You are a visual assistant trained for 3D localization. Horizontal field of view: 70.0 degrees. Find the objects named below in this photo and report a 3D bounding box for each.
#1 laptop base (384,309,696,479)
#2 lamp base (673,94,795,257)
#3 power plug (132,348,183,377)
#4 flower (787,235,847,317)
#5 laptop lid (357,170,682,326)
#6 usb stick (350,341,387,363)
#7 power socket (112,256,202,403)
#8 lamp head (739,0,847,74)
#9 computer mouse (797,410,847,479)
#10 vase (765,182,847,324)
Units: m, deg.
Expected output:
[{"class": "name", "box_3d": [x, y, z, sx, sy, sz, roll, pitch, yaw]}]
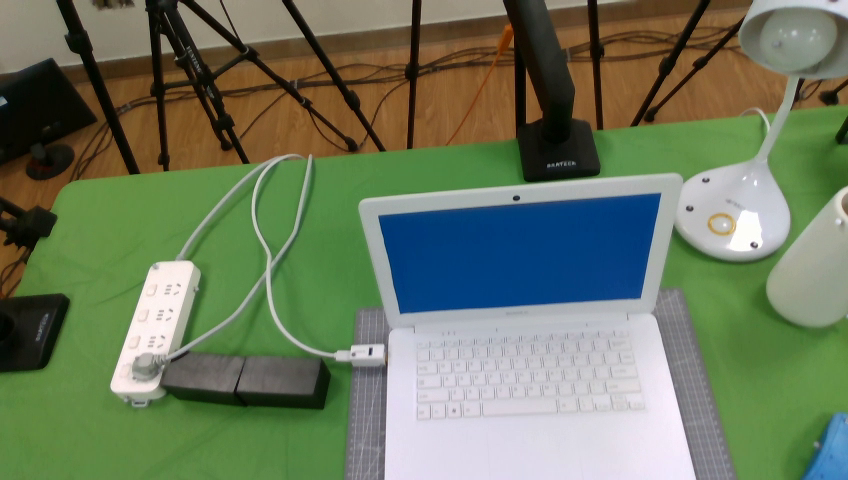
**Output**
[{"class": "laptop base", "box_3d": [0.128, 0.202, 0.747, 0.354, 0.023, 0.233, -4, 58, 5]}, {"class": "lamp base", "box_3d": [0.436, -0.097, 0.814, 0.159, 0.182, 0.178, 25, 60, 23]}, {"class": "power plug", "box_3d": [-0.351, 0.167, 0.803, 0.072, 0.053, 0.035, 7, 57, 10]}, {"class": "flower", "box_3d": [0.487, -0.038, 0.653, 0.038, 0.364, 0.043, -6, 43, -17]}, {"class": "laptop lid", "box_3d": [0.112, 0.021, 0.730, 0.356, 0.244, 0.013, -6, 44, 6]}, {"class": "usb stick", "box_3d": [-0.066, 0.148, 0.795, 0.059, 0.027, 0.021, 0, 53, 3]}, {"class": "power socket", "box_3d": [-0.376, 0.118, 0.864, 0.072, 0.033, 0.224, -2, 55, 6]}, {"class": "lamp head", "box_3d": [0.362, -0.227, 0.548, 0.112, 0.113, 0.122, 22, 79, 22]}, {"class": "computer mouse", "box_3d": [0.463, 0.240, 0.663, 0.062, 0.041, 0.117, 33, 60, 30]}, {"class": "vase", "box_3d": [0.480, 0.018, 0.717, 0.098, 0.202, 0.097, -5, 54, 7]}]
